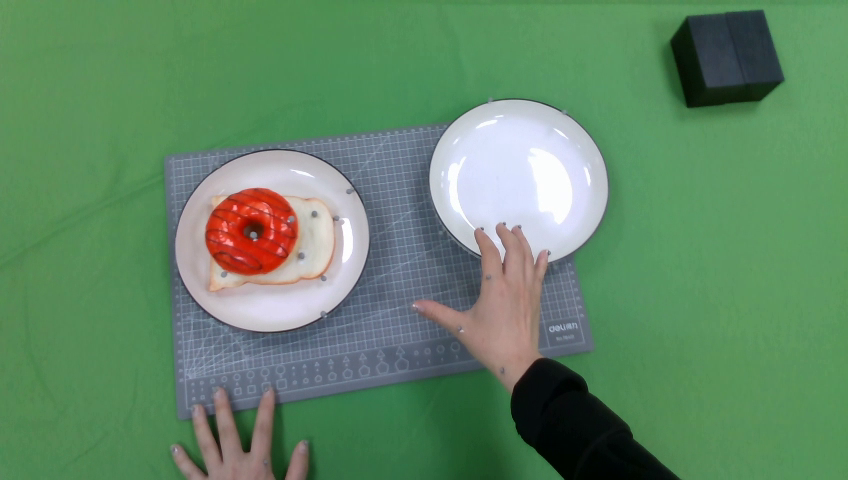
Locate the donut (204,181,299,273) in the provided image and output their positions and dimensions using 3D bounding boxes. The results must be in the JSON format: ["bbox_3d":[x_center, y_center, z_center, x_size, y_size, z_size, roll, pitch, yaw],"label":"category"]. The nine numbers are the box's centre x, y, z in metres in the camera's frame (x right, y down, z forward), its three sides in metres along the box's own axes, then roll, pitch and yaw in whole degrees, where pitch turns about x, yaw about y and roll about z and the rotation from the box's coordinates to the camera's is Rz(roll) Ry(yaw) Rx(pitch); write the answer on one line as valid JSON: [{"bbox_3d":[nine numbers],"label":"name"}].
[{"bbox_3d":[-0.182,-0.014,0.640,0.099,0.048,0.098,1,75,-2],"label":"donut"}]

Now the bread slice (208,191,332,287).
[{"bbox_3d":[-0.170,-0.006,0.668,0.134,0.018,0.106,-6,76,-7],"label":"bread slice"}]

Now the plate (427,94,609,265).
[{"bbox_3d":[0.107,-0.068,0.702,0.208,0.039,0.206,1,74,-3],"label":"plate"}]

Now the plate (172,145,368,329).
[{"bbox_3d":[-0.165,-0.002,0.667,0.209,0.038,0.208,1,74,-4],"label":"plate"}]
